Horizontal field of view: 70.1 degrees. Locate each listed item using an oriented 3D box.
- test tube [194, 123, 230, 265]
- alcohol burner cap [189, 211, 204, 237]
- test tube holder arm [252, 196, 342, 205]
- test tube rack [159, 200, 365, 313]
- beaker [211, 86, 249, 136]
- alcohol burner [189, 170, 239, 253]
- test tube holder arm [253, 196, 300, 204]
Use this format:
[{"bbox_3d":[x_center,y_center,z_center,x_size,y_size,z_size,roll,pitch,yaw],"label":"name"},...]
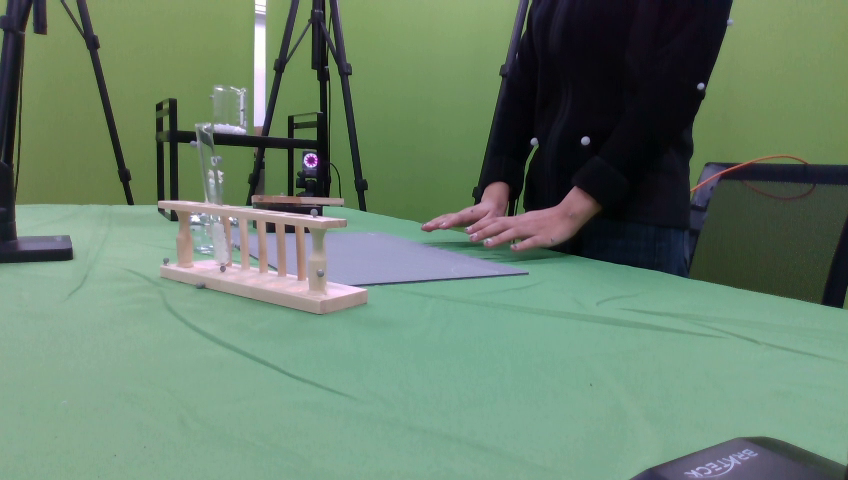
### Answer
[{"bbox_3d":[-0.218,-0.045,0.624,0.017,0.150,0.017,-2,19,1],"label":"test tube"},{"bbox_3d":[-0.389,-0.029,1.026,0.034,0.048,0.034,3,8,0],"label":"alcohol burner cap"},{"bbox_3d":[-0.241,-0.076,1.164,0.179,0.015,0.013,-1,6,-33],"label":"test tube holder arm"},{"bbox_3d":[-0.173,0.008,0.624,0.241,0.085,0.067,7,9,34],"label":"test tube rack"},{"bbox_3d":[-0.413,-0.274,1.297,0.074,0.100,0.083,-5,11,-44],"label":"beaker"},{"bbox_3d":[-0.303,-0.042,0.871,0.078,0.119,0.078,3,6,0],"label":"alcohol burner"},{"bbox_3d":[-0.276,-0.075,1.135,0.088,0.015,0.010,0,6,-32],"label":"test tube holder arm"}]
